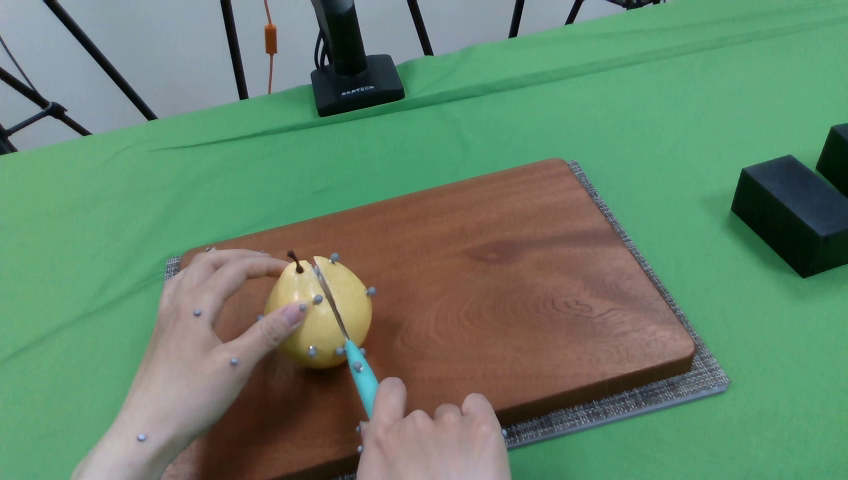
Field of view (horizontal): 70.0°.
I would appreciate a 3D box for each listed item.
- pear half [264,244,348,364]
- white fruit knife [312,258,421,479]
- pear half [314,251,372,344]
[{"bbox_3d":[-0.095,0.048,0.454,0.056,0.111,0.075,-26,42,-17],"label":"pear half"},{"bbox_3d":[-0.051,0.082,0.446,0.016,0.028,0.205,-25,49,-11],"label":"white fruit knife"},{"bbox_3d":[-0.059,0.040,0.470,0.031,0.089,0.069,-24,38,-18],"label":"pear half"}]
